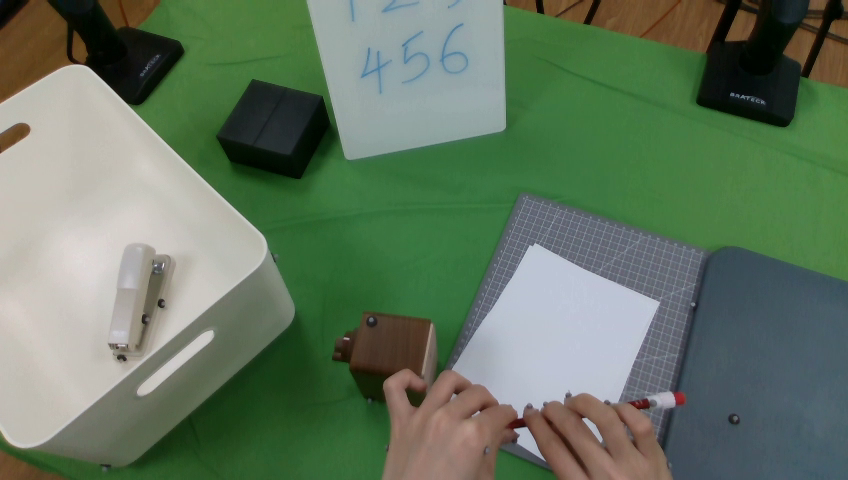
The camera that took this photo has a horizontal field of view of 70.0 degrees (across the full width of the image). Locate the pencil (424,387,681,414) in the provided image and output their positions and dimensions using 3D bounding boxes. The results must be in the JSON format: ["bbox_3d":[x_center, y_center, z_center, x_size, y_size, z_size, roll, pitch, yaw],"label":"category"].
[{"bbox_3d":[0.096,0.119,0.444,0.194,0.012,0.012,-2,60,-7],"label":"pencil"}]

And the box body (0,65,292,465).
[{"bbox_3d":[-0.345,0.022,0.636,0.361,0.162,0.254,39,70,21],"label":"box body"}]

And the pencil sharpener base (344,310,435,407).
[{"bbox_3d":[-0.033,0.119,0.599,0.076,0.108,0.061,7,62,7],"label":"pencil sharpener base"}]

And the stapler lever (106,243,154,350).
[{"bbox_3d":[-0.320,0.059,0.657,0.027,0.040,0.117,0,63,5],"label":"stapler lever"}]

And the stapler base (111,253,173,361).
[{"bbox_3d":[-0.319,0.070,0.681,0.041,0.024,0.129,0,63,5],"label":"stapler base"}]

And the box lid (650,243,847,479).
[{"bbox_3d":[0.378,0.186,0.598,0.262,0.015,0.369,19,64,12],"label":"box lid"}]

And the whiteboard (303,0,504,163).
[{"bbox_3d":[-0.028,-0.279,0.741,0.217,0.308,0.142,-11,42,-3],"label":"whiteboard"}]

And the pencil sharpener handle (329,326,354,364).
[{"bbox_3d":[-0.083,0.106,0.594,0.030,0.068,0.035,7,63,7],"label":"pencil sharpener handle"}]
